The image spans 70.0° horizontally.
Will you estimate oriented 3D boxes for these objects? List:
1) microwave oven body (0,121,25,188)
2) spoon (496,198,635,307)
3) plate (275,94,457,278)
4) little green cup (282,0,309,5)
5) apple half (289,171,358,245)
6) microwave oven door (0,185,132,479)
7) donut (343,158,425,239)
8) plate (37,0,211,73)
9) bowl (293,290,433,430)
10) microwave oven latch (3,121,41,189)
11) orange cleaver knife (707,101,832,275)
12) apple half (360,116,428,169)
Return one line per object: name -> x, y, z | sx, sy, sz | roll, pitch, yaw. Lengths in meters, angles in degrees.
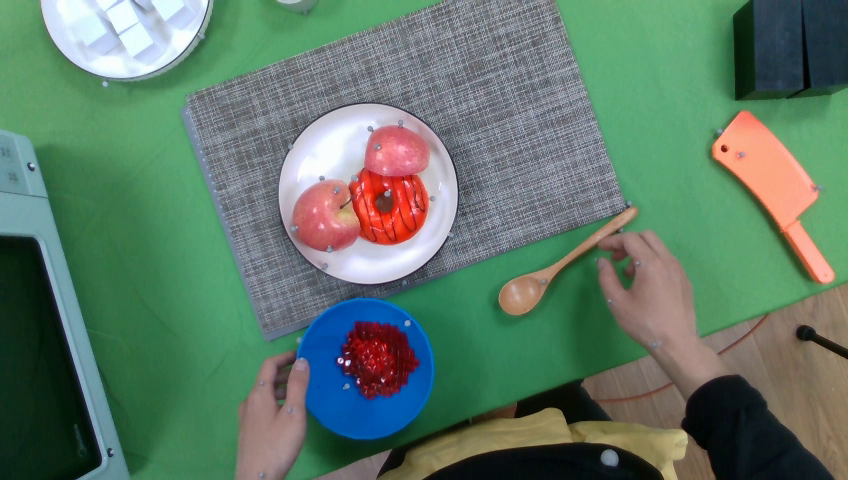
microwave oven body -> -0.571, 0.116, 0.616 | 0.326, 0.260, 0.441 | -18, 90, 3
spoon -> 0.165, 0.012, 0.694 | 0.194, 0.022, 0.041 | -37, 76, 3
plate -> -0.065, -0.061, 0.696 | 0.209, 0.038, 0.209 | 0, 90, 4
little green cup -> -0.154, -0.306, 0.704 | 0.061, 0.038, 0.061 | 0, 90, 4
apple half -> -0.119, -0.032, 0.668 | 0.074, 0.053, 0.080 | -18, 87, 44
microwave oven door -> -0.420, 0.113, 0.601 | 0.039, 0.244, 0.355 | -18, 89, 4
donut -> -0.047, -0.050, 0.684 | 0.099, 0.048, 0.099 | 0, 92, 3
plate -> -0.348, -0.297, 0.716 | 0.207, 0.039, 0.207 | 0, 90, 4
bowl -> -0.063, 0.128, 0.681 | 0.151, 0.077, 0.151 | 0, 90, 4
microwave oven latch -> -0.477, -0.096, 0.705 | 0.030, 0.029, 0.079 | -17, 90, 3
orange cleaver knife -> 0.402, -0.060, 0.681 | 0.077, 0.012, 0.211 | -35, 87, -2
apple half -> -0.032, -0.114, 0.668 | 0.081, 0.033, 0.080 | 1, 50, -1
